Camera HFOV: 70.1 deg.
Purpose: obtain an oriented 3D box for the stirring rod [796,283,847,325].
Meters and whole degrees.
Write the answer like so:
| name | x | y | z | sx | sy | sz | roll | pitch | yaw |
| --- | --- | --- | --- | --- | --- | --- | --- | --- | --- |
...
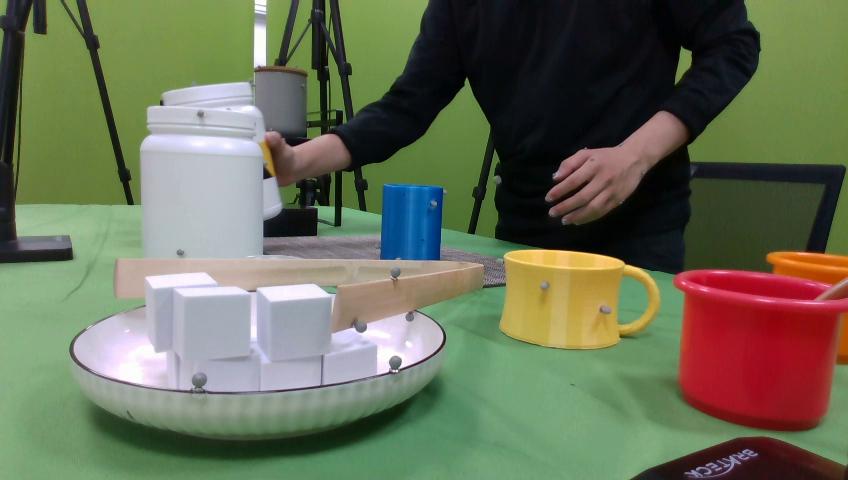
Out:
| name | x | y | z | sx | sy | sz | roll | pitch | yaw |
| --- | --- | --- | --- | --- | --- | --- | --- | --- | --- |
| stirring rod | 0.347 | 0.019 | 0.460 | 0.014 | 0.176 | 0.006 | -17 | 59 | -26 |

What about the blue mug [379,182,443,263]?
| name | x | y | z | sx | sy | sz | roll | pitch | yaw |
| --- | --- | --- | --- | --- | --- | --- | --- | --- | --- |
| blue mug | -0.020 | -0.026 | 0.833 | 0.082 | 0.106 | 0.116 | 1 | 7 | -7 |

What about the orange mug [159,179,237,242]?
| name | x | y | z | sx | sy | sz | roll | pitch | yaw |
| --- | --- | --- | --- | --- | --- | --- | --- | --- | --- |
| orange mug | -0.368 | -0.051 | 0.991 | 0.127 | 0.101 | 0.083 | -10 | 14 | -41 |

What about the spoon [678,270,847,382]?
| name | x | y | z | sx | sy | sz | roll | pitch | yaw |
| --- | --- | --- | --- | --- | --- | --- | --- | --- | --- |
| spoon | 0.229 | 0.031 | 0.338 | 0.193 | 0.021 | 0.042 | -44 | -17 | 27 |

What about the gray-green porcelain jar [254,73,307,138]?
| name | x | y | z | sx | sy | sz | roll | pitch | yaw |
| --- | --- | --- | --- | --- | --- | --- | --- | --- | --- |
| gray-green porcelain jar | -0.298 | -0.277 | 1.259 | 0.106 | 0.126 | 0.106 | 3 | 7 | 0 |

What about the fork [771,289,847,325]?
| name | x | y | z | sx | sy | sz | roll | pitch | yaw |
| --- | --- | --- | --- | --- | --- | --- | --- | --- | --- |
| fork | 0.335 | 0.018 | 0.443 | 0.028 | 0.018 | 0.207 | -1 | -36 | -20 |

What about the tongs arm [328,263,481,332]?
| name | x | y | z | sx | sy | sz | roll | pitch | yaw |
| --- | --- | --- | --- | --- | --- | --- | --- | --- | --- |
| tongs arm | -0.003 | 0.036 | 0.492 | 0.050 | 0.026 | 0.386 | 1 | -1 | 19 |

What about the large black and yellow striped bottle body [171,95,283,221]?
| name | x | y | z | sx | sy | sz | roll | pitch | yaw |
| --- | --- | --- | --- | --- | --- | --- | --- | --- | --- |
| large black and yellow striped bottle body | -0.278 | -0.117 | 0.846 | 0.131 | 0.184 | 0.130 | -8 | 13 | 2 |

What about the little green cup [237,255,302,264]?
| name | x | y | z | sx | sy | sz | roll | pitch | yaw |
| --- | --- | --- | --- | --- | --- | --- | --- | --- | --- |
| little green cup | -0.150 | 0.038 | 0.590 | 0.061 | 0.038 | 0.061 | 3 | 7 | 0 |

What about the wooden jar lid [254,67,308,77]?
| name | x | y | z | sx | sy | sz | roll | pitch | yaw |
| --- | --- | --- | --- | --- | --- | --- | --- | --- | --- |
| wooden jar lid | -0.296 | -0.339 | 1.251 | 0.108 | 0.020 | 0.108 | 1 | 7 | 0 |

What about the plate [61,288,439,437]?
| name | x | y | z | sx | sy | sz | roll | pitch | yaw |
| --- | --- | --- | --- | --- | --- | --- | --- | --- | --- |
| plate | -0.095 | 0.069 | 0.362 | 0.208 | 0.039 | 0.207 | 3 | 7 | 0 |

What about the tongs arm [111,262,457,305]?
| name | x | y | z | sx | sy | sz | roll | pitch | yaw |
| --- | --- | --- | --- | --- | --- | --- | --- | --- | --- |
| tongs arm | -0.080 | 0.033 | 0.527 | 0.028 | 0.027 | 0.389 | -4 | -4 | 33 |

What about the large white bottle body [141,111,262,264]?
| name | x | y | z | sx | sy | sz | roll | pitch | yaw |
| --- | --- | --- | --- | --- | --- | --- | --- | --- | --- |
| large white bottle body | -0.254 | -0.053 | 0.697 | 0.131 | 0.184 | 0.130 | 2 | 7 | 0 |

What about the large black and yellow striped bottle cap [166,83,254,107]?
| name | x | y | z | sx | sy | sz | roll | pitch | yaw |
| --- | --- | --- | --- | --- | --- | --- | --- | --- | --- |
| large black and yellow striped bottle cap | -0.291 | -0.197 | 0.826 | 0.115 | 0.019 | 0.115 | -8 | 11 | 2 |

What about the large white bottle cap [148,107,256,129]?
| name | x | y | z | sx | sy | sz | roll | pitch | yaw |
| --- | --- | --- | --- | --- | --- | --- | --- | --- | --- |
| large white bottle cap | -0.250 | -0.137 | 0.686 | 0.115 | 0.018 | 0.115 | 3 | 8 | 0 |

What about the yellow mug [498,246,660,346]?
| name | x | y | z | sx | sy | sz | roll | pitch | yaw |
| --- | --- | --- | --- | --- | --- | --- | --- | --- | --- |
| yellow mug | 0.130 | 0.045 | 0.508 | 0.131 | 0.064 | 0.100 | 4 | 7 | 6 |
